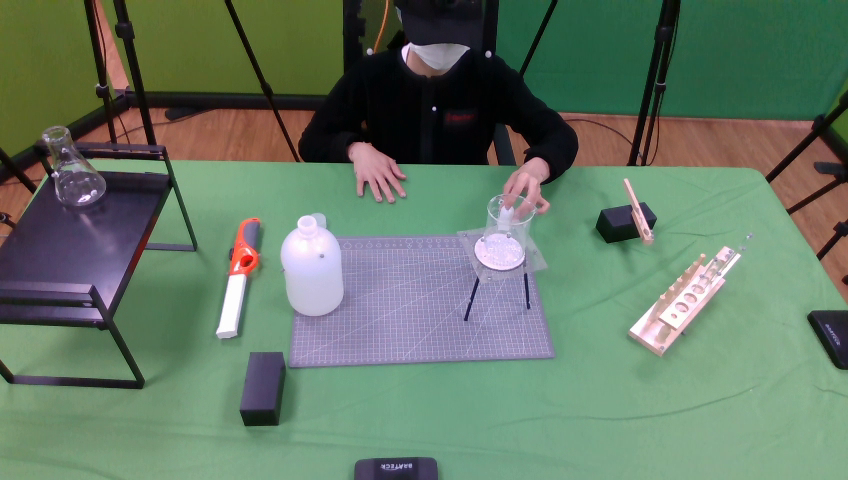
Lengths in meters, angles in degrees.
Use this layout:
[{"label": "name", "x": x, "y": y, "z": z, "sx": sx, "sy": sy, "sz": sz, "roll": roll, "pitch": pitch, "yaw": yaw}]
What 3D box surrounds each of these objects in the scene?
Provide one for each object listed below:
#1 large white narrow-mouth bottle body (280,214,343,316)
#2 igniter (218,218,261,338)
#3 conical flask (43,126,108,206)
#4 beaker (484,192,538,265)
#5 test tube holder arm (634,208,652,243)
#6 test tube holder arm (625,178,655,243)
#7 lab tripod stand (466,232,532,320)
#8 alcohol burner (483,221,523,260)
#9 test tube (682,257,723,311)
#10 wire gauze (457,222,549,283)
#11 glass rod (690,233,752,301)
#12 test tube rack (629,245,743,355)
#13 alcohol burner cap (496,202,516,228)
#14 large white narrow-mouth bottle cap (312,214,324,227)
[{"label": "large white narrow-mouth bottle body", "x": -0.190, "y": 0.035, "z": 1.025, "sx": 0.102, "sy": 0.195, "sz": 0.101, "roll": 2, "pitch": 46, "yaw": -2}, {"label": "igniter", "x": -0.336, "y": 0.060, "z": 1.111, "sx": 0.057, "sy": 0.025, "sz": 0.274, "roll": -8, "pitch": 46, "yaw": 4}, {"label": "conical flask", "x": -0.555, "y": -0.119, "z": 0.953, "sx": 0.075, "sy": 0.122, "sz": 0.075, "roll": 2, "pitch": 46, "yaw": -2}, {"label": "beaker", "x": 0.137, "y": -0.016, "z": 0.980, "sx": 0.084, "sy": 0.101, "sz": 0.073, "roll": -6, "pitch": 45, "yaw": -9}, {"label": "test tube holder arm", "x": 0.428, "y": -0.030, "z": 1.189, "sx": 0.010, "sy": 0.015, "sz": 0.087, "roll": 2, "pitch": 47, "yaw": -3}, {"label": "test tube holder arm", "x": 0.433, "y": -0.062, "z": 1.220, "sx": 0.013, "sy": 0.015, "sz": 0.177, "roll": 2, "pitch": 47, "yaw": -3}, {"label": "lab tripod stand", "x": 0.125, "y": 0.059, "z": 1.065, "sx": 0.148, "sy": 0.132, "sz": 0.147, "roll": 1, "pitch": 45, "yaw": 0}, {"label": "alcohol burner", "x": 0.152, "y": -0.018, "z": 1.156, "sx": 0.078, "sy": 0.120, "sz": 0.077, "roll": 0, "pitch": 47, "yaw": 0}, {"label": "test tube", "x": 0.475, "y": 0.080, "z": 1.037, "sx": 0.017, "sy": 0.151, "sz": 0.017, "roll": 1, "pitch": 51, "yaw": -1}, {"label": "wire gauze", "x": 0.131, "y": 0.016, "z": 1.017, "sx": 0.121, "sy": 0.011, "sz": 0.124, "roll": -10, "pitch": 44, "yaw": -16}, {"label": "glass rod", "x": 0.507, "y": 0.053, "z": 1.041, "sx": 0.008, "sy": 0.200, "sz": 0.008, "roll": 5, "pitch": 51, "yaw": -6}, {"label": "test tube rack", "x": 0.474, "y": 0.095, "z": 1.091, "sx": 0.242, "sy": 0.085, "sz": 0.066, "roll": -34, "pitch": 56, "yaw": -31}, {"label": "alcohol burner cap", "x": 0.154, "y": -0.049, "z": 1.125, "sx": 0.034, "sy": 0.048, "sz": 0.033, "roll": 4, "pitch": 44, "yaw": -4}, {"label": "large white narrow-mouth bottle cap", "x": -0.219, "y": -0.033, "z": 1.214, "sx": 0.038, "sy": 0.024, "sz": 0.037, "roll": 2, "pitch": 46, "yaw": -2}]
